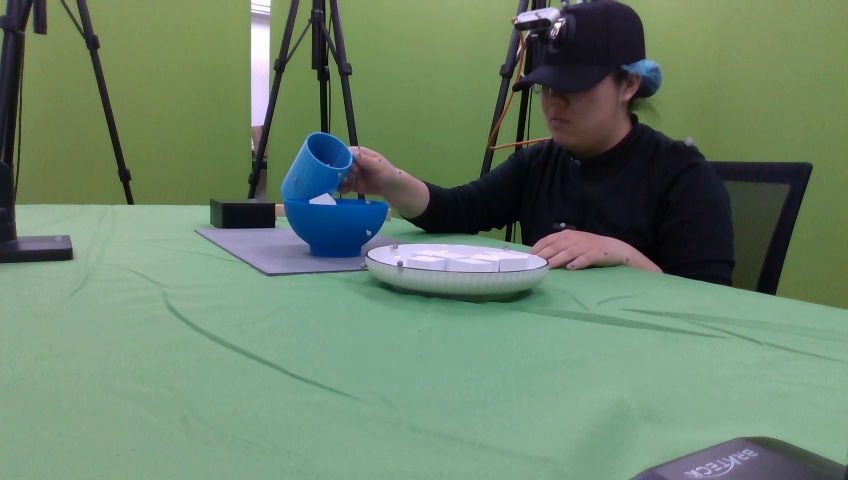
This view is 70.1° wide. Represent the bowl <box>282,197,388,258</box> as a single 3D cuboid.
[{"bbox_3d":[-0.127,-0.018,0.868,0.151,0.077,0.151,3,7,0],"label":"bowl"}]

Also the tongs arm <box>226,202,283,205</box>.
[{"bbox_3d":[-0.275,-0.071,1.446,0.388,0.027,0.028,2,-1,-4],"label":"tongs arm"}]

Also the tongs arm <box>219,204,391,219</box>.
[{"bbox_3d":[-0.258,-0.064,1.367,0.386,0.026,0.050,1,3,-17],"label":"tongs arm"}]

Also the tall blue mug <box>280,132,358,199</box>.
[{"bbox_3d":[-0.163,-0.110,0.951,0.078,0.107,0.107,36,39,-3],"label":"tall blue mug"}]

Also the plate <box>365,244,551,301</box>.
[{"bbox_3d":[0.038,0.036,0.685,0.209,0.038,0.209,2,7,0],"label":"plate"}]
